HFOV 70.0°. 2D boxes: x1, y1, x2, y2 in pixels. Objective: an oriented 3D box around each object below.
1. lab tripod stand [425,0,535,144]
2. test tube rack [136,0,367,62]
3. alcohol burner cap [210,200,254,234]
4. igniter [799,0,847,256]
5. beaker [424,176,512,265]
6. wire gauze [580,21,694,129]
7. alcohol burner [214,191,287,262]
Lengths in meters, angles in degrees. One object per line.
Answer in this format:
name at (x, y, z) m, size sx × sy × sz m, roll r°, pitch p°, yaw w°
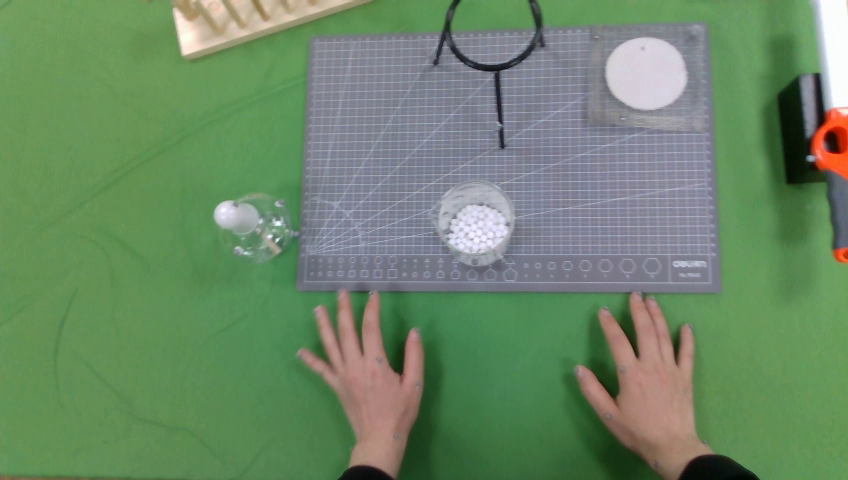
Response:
lab tripod stand at (0.063, -0.187, 0.619) m, size 0.148 × 0.132 × 0.148 m, roll -1°, pitch 82°, yaw 4°
test tube rack at (-0.192, -0.287, 0.688) m, size 0.242 × 0.085 × 0.066 m, roll -17°, pitch 80°, yaw 3°
alcohol burner cap at (-0.192, -0.024, 0.597) m, size 0.034 × 0.048 × 0.034 m, roll -1°, pitch 84°, yaw 6°
igniter at (0.394, -0.120, 0.584) m, size 0.057 × 0.025 × 0.275 m, roll -1°, pitch 78°, yaw 9°
beaker at (0.046, -0.015, 0.612) m, size 0.084 × 0.101 × 0.073 m, roll 6°, pitch 81°, yaw 8°
wire gauze at (0.234, -0.184, 0.665) m, size 0.125 × 0.011 × 0.121 m, roll 4°, pitch 81°, yaw 4°
alcohol burner at (-0.188, -0.018, 0.632) m, size 0.078 × 0.119 × 0.077 m, roll -1°, pitch 78°, yaw 5°
